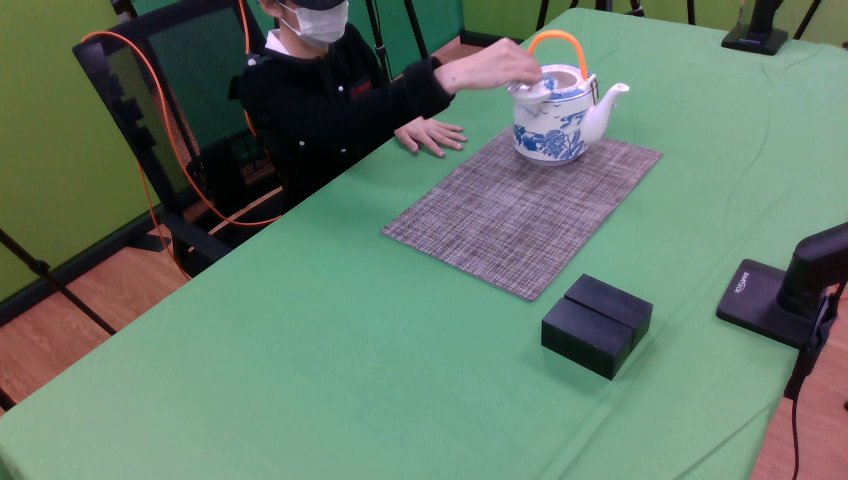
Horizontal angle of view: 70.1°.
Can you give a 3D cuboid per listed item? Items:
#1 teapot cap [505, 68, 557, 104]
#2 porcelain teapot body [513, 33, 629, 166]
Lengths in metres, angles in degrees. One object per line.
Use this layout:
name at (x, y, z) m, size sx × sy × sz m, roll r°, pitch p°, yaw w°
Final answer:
teapot cap at (0.173, -0.255, 0.979) m, size 0.085 × 0.044 × 0.085 m, roll -3°, pitch 40°, yaw 3°
porcelain teapot body at (0.256, -0.248, 1.065) m, size 0.204 × 0.226 × 0.145 m, roll 18°, pitch 47°, yaw 28°
